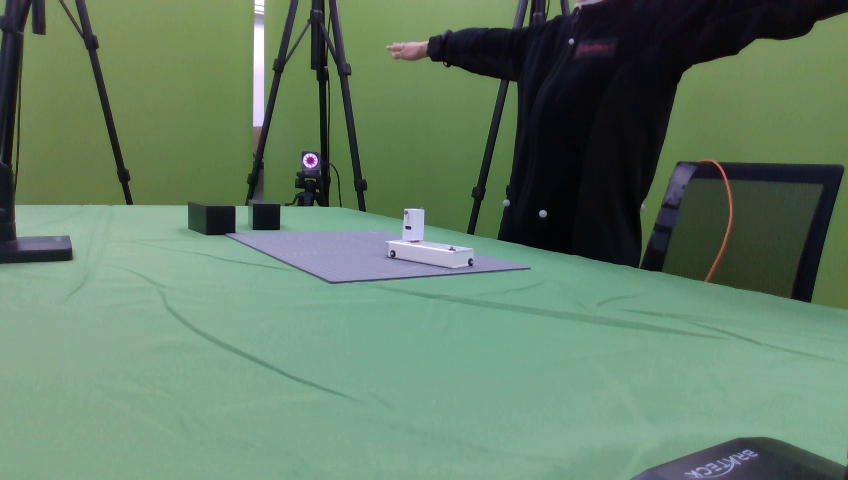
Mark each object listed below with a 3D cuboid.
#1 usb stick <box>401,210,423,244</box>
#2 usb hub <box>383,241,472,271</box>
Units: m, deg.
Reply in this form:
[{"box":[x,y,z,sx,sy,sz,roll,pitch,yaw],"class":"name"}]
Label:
[{"box":[-0.017,-0.013,0.862,0.021,0.059,0.027,10,12,36],"class":"usb stick"},{"box":[0.003,0.020,0.842,0.124,0.025,0.050,8,9,39],"class":"usb hub"}]
